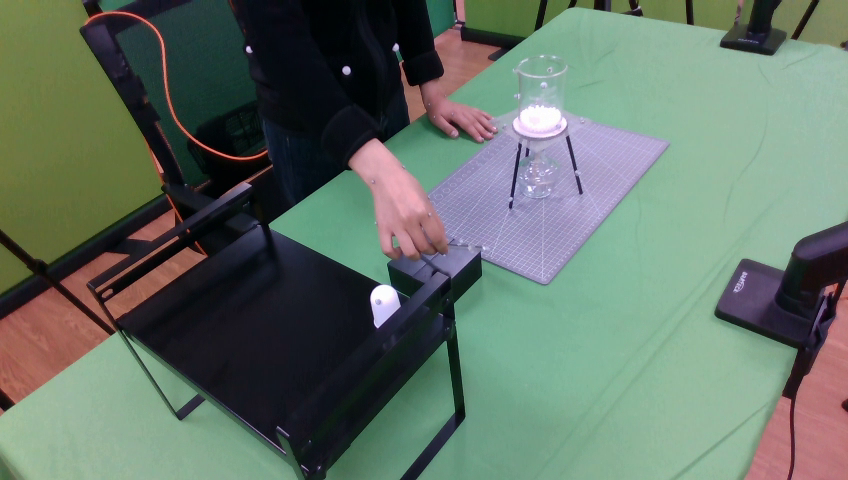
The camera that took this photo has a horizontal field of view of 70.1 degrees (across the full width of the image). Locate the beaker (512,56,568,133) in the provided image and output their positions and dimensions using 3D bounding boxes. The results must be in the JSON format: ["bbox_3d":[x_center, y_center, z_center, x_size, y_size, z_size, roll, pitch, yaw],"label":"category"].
[{"bbox_3d":[0.181,-0.225,0.946,0.084,0.101,0.074,3,41,12],"label":"beaker"}]

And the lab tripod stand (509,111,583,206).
[{"bbox_3d":[0.198,-0.139,1.019,0.148,0.132,0.147,-3,39,3],"label":"lab tripod stand"}]

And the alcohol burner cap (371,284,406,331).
[{"bbox_3d":[-0.037,0.065,0.608,0.034,0.048,0.033,-4,41,4],"label":"alcohol burner cap"}]

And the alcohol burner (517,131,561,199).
[{"bbox_3d":[0.193,-0.131,1.026,0.078,0.119,0.077,-4,38,4],"label":"alcohol burner"}]

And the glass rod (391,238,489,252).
[{"bbox_3d":[0.017,0.007,0.867,0.198,0.008,0.008,6,37,47],"label":"glass rod"}]

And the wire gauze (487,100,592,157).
[{"bbox_3d":[0.185,-0.187,0.974,0.122,0.011,0.124,-28,47,-22],"label":"wire gauze"}]
